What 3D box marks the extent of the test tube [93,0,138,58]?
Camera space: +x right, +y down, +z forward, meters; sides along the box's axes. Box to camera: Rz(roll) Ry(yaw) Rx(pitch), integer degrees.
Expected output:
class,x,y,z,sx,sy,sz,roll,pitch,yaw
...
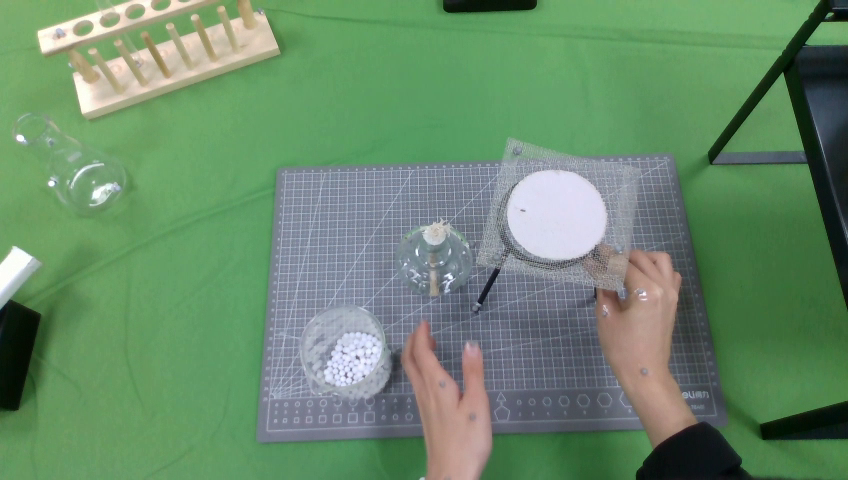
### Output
class,x,y,z,sx,sy,sz,roll,pitch,yaw
test tube,-0.351,-0.258,0.665,0.017,0.151,0.017,0,61,0

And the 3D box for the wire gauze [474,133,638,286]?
class,x,y,z,sx,sy,sz,roll,pitch,yaw
wire gauze,0.115,-0.028,0.517,0.121,0.011,0.124,14,70,5

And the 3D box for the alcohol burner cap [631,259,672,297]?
class,x,y,z,sx,sy,sz,roll,pitch,yaw
alcohol burner cap,0.232,0.035,0.612,0.034,0.048,0.033,0,69,2

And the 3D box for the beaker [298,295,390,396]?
class,x,y,z,sx,sy,sz,roll,pitch,yaw
beaker,-0.071,0.105,0.559,0.073,0.101,0.083,27,71,12

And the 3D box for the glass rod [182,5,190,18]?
class,x,y,z,sx,sy,sz,roll,pitch,yaw
glass rod,-0.286,-0.296,0.661,0.008,0.201,0.008,-3,62,7

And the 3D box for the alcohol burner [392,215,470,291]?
class,x,y,z,sx,sy,sz,roll,pitch,yaw
alcohol burner,0.007,0.007,0.589,0.078,0.120,0.077,0,67,0

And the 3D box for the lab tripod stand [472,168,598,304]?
class,x,y,z,sx,sy,sz,roll,pitch,yaw
lab tripod stand,0.110,0.001,0.578,0.148,0.132,0.147,0,67,0

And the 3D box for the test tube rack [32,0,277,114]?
class,x,y,z,sx,sy,sz,roll,pitch,yaw
test tube rack,-0.307,-0.237,0.709,0.242,0.086,0.066,-22,69,-8

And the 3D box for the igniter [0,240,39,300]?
class,x,y,z,sx,sy,sz,roll,pitch,yaw
igniter,-0.463,0.117,0.552,0.057,0.025,0.275,25,70,21

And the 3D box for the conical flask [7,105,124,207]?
class,x,y,z,sx,sy,sz,roll,pitch,yaw
conical flask,-0.377,-0.091,0.633,0.075,0.123,0.075,0,68,1
